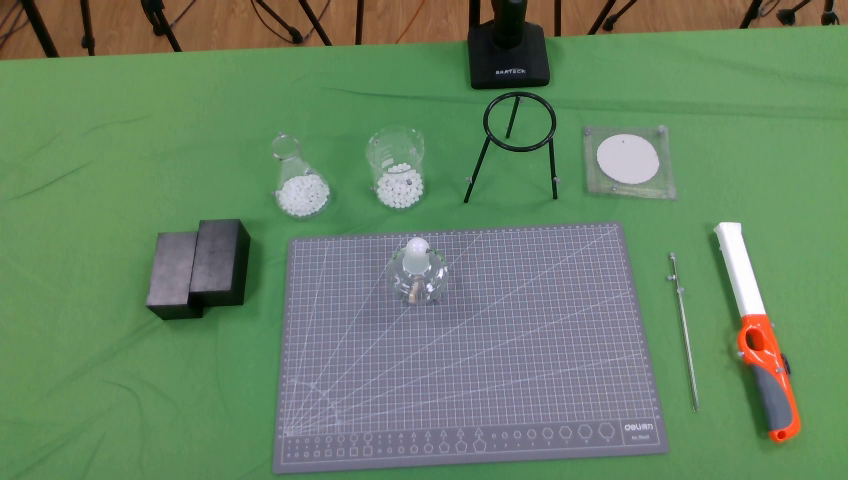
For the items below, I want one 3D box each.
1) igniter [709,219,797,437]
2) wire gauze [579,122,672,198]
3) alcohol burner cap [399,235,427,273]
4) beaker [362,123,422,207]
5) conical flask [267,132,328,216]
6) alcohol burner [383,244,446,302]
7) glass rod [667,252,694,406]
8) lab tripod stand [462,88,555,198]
[{"bbox_3d":[0.401,0.098,0.742,0.057,0.025,0.274,2,64,-10],"label":"igniter"},{"bbox_3d":[0.286,-0.118,0.861,0.125,0.011,0.120,4,65,1],"label":"wire gauze"},{"bbox_3d":[-0.011,0.012,0.702,0.034,0.048,0.033,3,57,-5],"label":"alcohol burner cap"},{"bbox_3d":[-0.037,-0.097,0.808,0.084,0.101,0.073,-41,70,-17],"label":"beaker"},{"bbox_3d":[-0.172,-0.090,0.794,0.075,0.123,0.074,0,64,1],"label":"conical flask"},{"bbox_3d":[-0.012,0.030,0.734,0.078,0.120,0.077,0,63,0],"label":"alcohol burner"},{"bbox_3d":[0.317,0.105,0.752,0.008,0.008,0.198,2,64,2],"label":"glass rod"},{"bbox_3d":[0.113,-0.120,0.796,0.148,0.132,0.147,-1,66,2],"label":"lab tripod stand"}]
